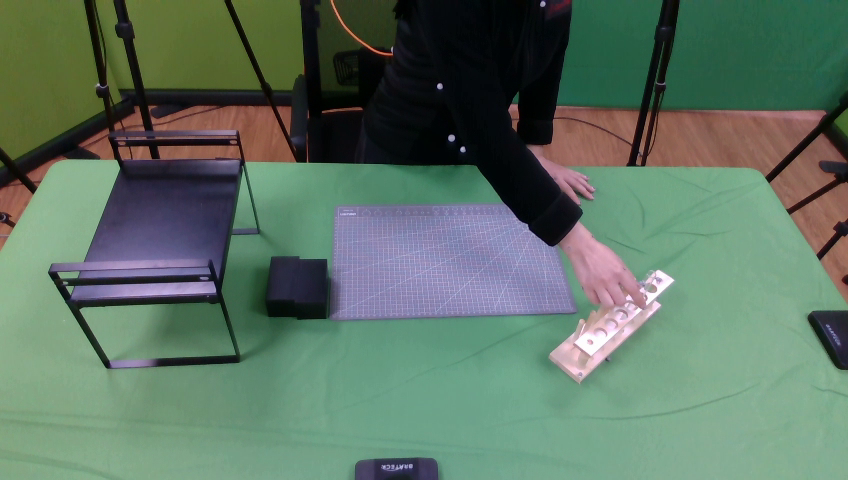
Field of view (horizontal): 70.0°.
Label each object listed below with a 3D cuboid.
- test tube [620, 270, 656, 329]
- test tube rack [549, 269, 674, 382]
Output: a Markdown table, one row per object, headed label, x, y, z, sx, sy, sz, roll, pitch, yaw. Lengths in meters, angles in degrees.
| label | x | y | z | sx | sy | sz | roll | pitch | yaw |
| --- | --- | --- | --- | --- | --- | --- | --- | --- | --- |
| test tube | 0.353 | 0.102 | 1.011 | 0.017 | 0.151 | 0.017 | 4 | 47 | -4 |
| test tube rack | 0.325 | 0.134 | 1.047 | 0.242 | 0.085 | 0.066 | -32 | 56 | -30 |
